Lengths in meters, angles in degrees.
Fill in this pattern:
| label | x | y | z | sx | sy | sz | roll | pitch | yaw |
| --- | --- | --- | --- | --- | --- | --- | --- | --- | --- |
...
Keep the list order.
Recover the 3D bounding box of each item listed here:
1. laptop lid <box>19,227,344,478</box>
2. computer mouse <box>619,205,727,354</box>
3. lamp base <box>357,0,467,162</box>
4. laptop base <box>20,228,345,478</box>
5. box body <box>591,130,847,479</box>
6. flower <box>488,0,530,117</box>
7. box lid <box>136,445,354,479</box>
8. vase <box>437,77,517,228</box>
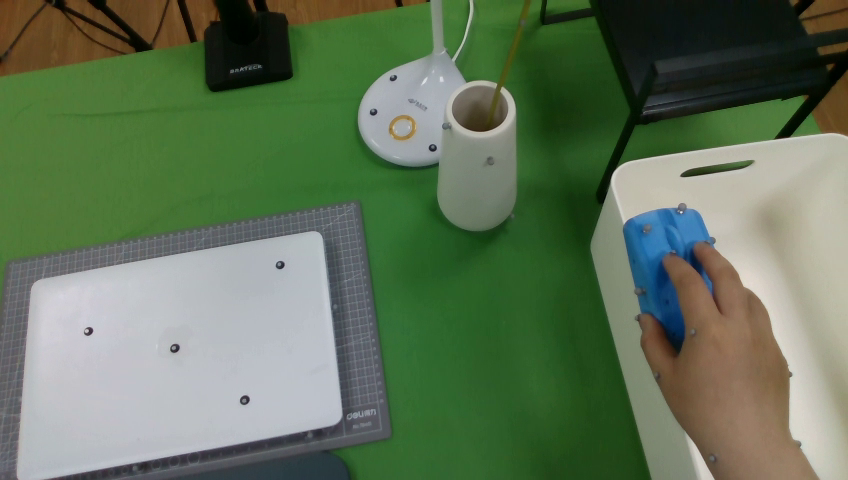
| label | x | y | z | sx | sy | sz | roll | pitch | yaw |
| --- | --- | --- | --- | --- | --- | --- | --- | --- | --- |
| laptop lid | -0.277 | 0.119 | 0.688 | 0.357 | 0.013 | 0.239 | -9 | 68 | -1 |
| computer mouse | 0.194 | 0.029 | 0.472 | 0.063 | 0.041 | 0.116 | -8 | 79 | 0 |
| lamp base | -0.009 | -0.217 | 0.748 | 0.160 | 0.181 | 0.178 | 21 | 66 | 12 |
| laptop base | -0.277 | 0.121 | 0.700 | 0.354 | 0.023 | 0.233 | -10 | 70 | -2 |
| box body | 0.335 | 0.097 | 0.605 | 0.254 | 0.161 | 0.361 | -9 | 66 | -1 |
| flower | 0.070 | -0.137 | 0.609 | 0.038 | 0.364 | 0.043 | -16 | 55 | -23 |
| box lid | -0.241 | 0.365 | 0.598 | 0.372 | 0.015 | 0.261 | -10 | 66 | -2 |
| vase | 0.060 | -0.092 | 0.681 | 0.098 | 0.201 | 0.097 | -2 | 65 | 4 |
